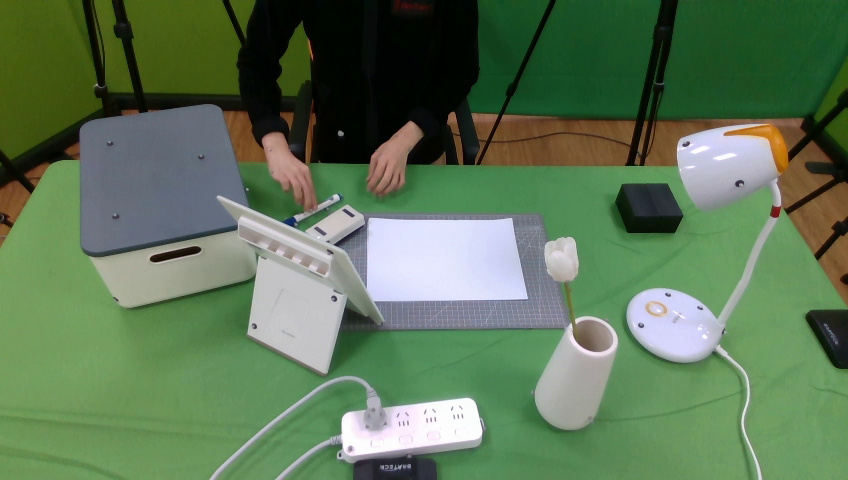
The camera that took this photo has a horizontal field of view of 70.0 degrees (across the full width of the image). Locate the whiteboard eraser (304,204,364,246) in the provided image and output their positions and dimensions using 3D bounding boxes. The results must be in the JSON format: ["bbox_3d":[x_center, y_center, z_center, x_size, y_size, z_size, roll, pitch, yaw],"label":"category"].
[{"bbox_3d":[-0.175,-0.022,1.188,0.055,0.042,0.112,36,54,26],"label":"whiteboard eraser"}]

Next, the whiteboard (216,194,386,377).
[{"bbox_3d":[-0.212,0.093,0.939,0.216,0.307,0.143,24,70,17],"label":"whiteboard"}]

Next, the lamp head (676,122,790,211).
[{"bbox_3d":[0.423,-0.104,0.819,0.122,0.113,0.112,-13,33,40],"label":"lamp head"}]

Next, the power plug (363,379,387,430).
[{"bbox_3d":[-0.071,0.252,0.911,0.035,0.053,0.072,3,40,0],"label":"power plug"}]

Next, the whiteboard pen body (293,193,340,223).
[{"bbox_3d":[-0.231,-0.062,1.243,0.141,0.017,0.017,-32,56,-30],"label":"whiteboard pen body"}]

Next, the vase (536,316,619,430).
[{"bbox_3d":[0.229,0.200,0.901,0.098,0.201,0.097,3,46,-3],"label":"vase"}]

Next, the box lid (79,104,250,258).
[{"bbox_3d":[-0.467,-0.121,1.075,0.264,0.015,0.369,-13,49,-17],"label":"box lid"}]

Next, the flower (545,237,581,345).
[{"bbox_3d":[0.213,0.137,0.846,0.038,0.364,0.044,21,55,40],"label":"flower"}]

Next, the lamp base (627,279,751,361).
[{"bbox_3d":[0.460,0.100,1.027,0.178,0.181,0.160,27,51,17],"label":"lamp base"}]

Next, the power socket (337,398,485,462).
[{"bbox_3d":[-0.018,0.285,0.914,0.227,0.033,0.071,-4,46,-8],"label":"power socket"}]

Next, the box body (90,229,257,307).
[{"bbox_3d":[-0.471,-0.070,1.131,0.254,0.161,0.361,-14,49,-17],"label":"box body"}]

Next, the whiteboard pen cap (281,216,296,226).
[{"bbox_3d":[-0.273,-0.034,1.213,0.033,0.018,0.018,-31,56,-30],"label":"whiteboard pen cap"}]
